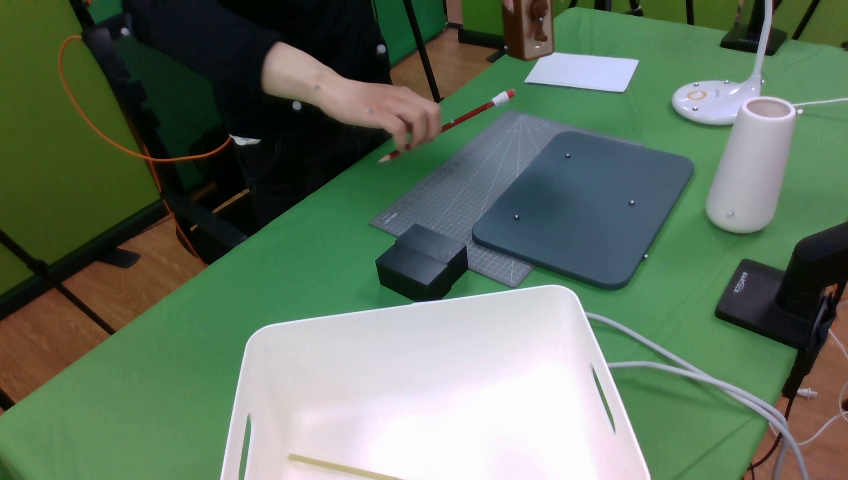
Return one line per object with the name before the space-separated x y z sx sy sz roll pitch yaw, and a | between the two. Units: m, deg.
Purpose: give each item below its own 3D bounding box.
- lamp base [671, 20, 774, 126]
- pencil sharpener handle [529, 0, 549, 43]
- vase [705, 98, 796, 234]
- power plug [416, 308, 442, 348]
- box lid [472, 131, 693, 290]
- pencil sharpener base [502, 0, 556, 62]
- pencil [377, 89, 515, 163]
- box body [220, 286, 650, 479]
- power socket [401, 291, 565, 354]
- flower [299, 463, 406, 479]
lamp base | 0.581 -0.332 1.154 0.179 0.181 0.160 2 42 7
pencil sharpener handle | 0.192 -0.354 0.976 0.036 0.068 0.030 -11 27 -18
vase | 0.480 -0.104 0.889 0.098 0.201 0.097 -4 42 4
power plug | 0.004 0.121 0.787 0.035 0.053 0.072 2 46 8
box lid | 0.273 -0.068 1.020 0.261 0.015 0.372 20 47 28
pencil sharpener base | 0.179 -0.364 1.026 0.061 0.107 0.076 -18 29 -14
pencil | 0.027 -0.141 0.751 0.194 0.012 0.012 -28 43 -3
box body | 0.006 0.210 0.618 0.364 0.161 0.252 -8 40 -1
power socket | 0.080 0.111 0.823 0.227 0.033 0.072 -5 41 1
flower | 0.016 0.270 0.653 0.360 0.038 0.044 3 24 19
